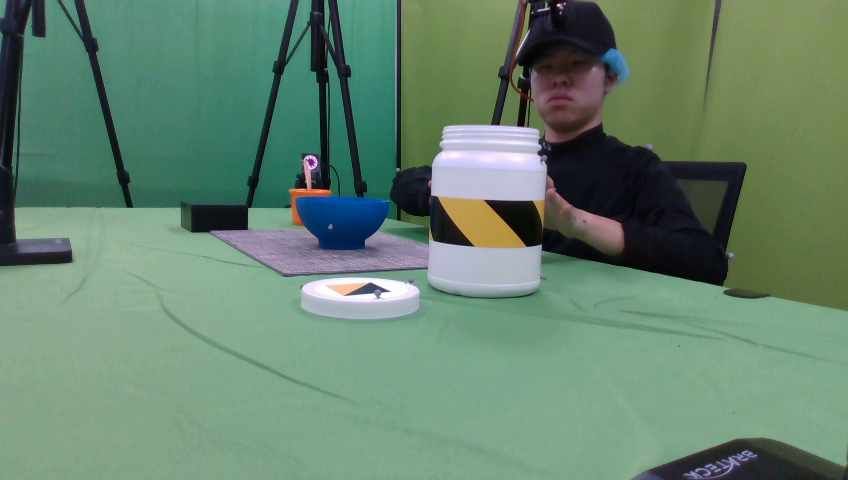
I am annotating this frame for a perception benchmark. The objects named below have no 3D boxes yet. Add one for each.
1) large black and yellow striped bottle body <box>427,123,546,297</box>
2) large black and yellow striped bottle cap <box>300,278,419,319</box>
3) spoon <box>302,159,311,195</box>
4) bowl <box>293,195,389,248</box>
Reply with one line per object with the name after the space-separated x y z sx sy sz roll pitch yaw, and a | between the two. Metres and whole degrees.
0.071 -0.037 0.689 0.131 0.184 0.130 2 7 0 | large black and yellow striped bottle body
-0.062 0.055 0.588 0.115 0.019 0.115 1 6 0 | large black and yellow striped bottle cap
-0.257 -0.113 1.341 0.042 0.193 0.021 3 -38 -18 | spoon
-0.132 -0.030 0.962 0.151 0.077 0.151 2 7 0 | bowl
